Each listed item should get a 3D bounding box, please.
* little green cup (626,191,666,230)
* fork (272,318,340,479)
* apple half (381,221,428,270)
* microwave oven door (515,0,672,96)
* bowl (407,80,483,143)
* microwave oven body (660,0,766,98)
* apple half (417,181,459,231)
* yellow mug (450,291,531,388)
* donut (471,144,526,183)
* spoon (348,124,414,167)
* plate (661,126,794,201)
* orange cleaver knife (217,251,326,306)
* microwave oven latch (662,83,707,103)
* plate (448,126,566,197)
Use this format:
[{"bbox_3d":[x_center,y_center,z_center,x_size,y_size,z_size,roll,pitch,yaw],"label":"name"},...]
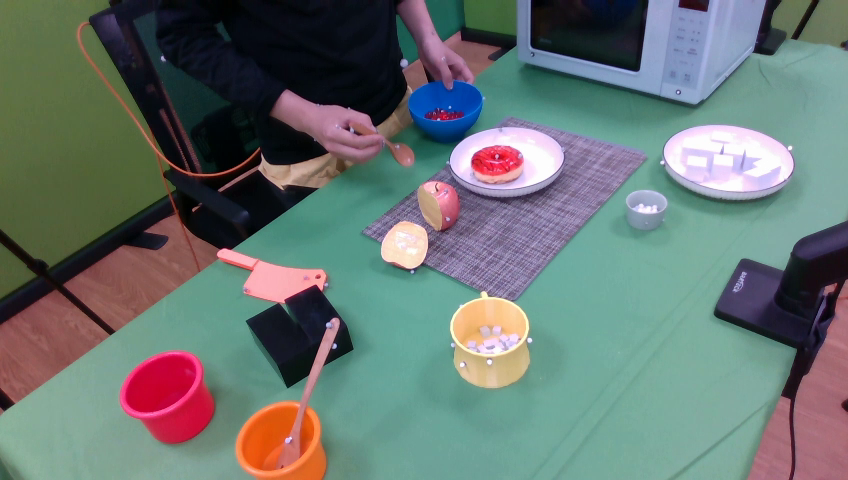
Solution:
[{"bbox_3d":[0.352,-0.046,0.963,0.061,0.039,0.061,-4,40,4],"label":"little green cup"},{"bbox_3d":[-0.131,0.186,0.676,0.028,0.019,0.207,17,90,28],"label":"fork"},{"bbox_3d":[-0.025,0.012,0.946,0.081,0.033,0.081,-5,73,16],"label":"apple half"},{"bbox_3d":[0.343,-0.454,1.259,0.353,0.245,0.039,26,51,33],"label":"microwave oven door"},{"bbox_3d":[0.044,-0.249,1.215,0.151,0.077,0.150,-2,44,3],"label":"bowl"},{"bbox_3d":[0.472,-0.513,1.317,0.438,0.261,0.327,26,51,34],"label":"microwave oven body"},{"bbox_3d":[0.030,-0.059,0.995,0.053,0.075,0.080,-23,39,-22],"label":"apple half"},{"bbox_3d":[0.085,0.120,0.786,0.100,0.064,0.130,-7,39,1],"label":"yellow mug"},{"bbox_3d":[0.133,-0.138,1.082,0.099,0.048,0.098,-5,38,5],"label":"donut"},{"bbox_3d":[-0.068,-0.161,1.004,0.021,0.195,0.041,-5,79,24],"label":"spoon"},{"bbox_3d":[0.513,-0.128,1.035,0.207,0.039,0.206,-4,40,4],"label":"plate"},{"bbox_3d":[-0.248,0.059,0.945,0.210,0.012,0.077,12,48,20],"label":"orange cleaver knife"},{"bbox_3d":[0.517,-0.296,1.204,0.078,0.029,0.030,27,52,35],"label":"microwave oven latch"},{"bbox_3d":[0.150,-0.138,1.096,0.209,0.038,0.208,-4,40,4],"label":"plate"}]
